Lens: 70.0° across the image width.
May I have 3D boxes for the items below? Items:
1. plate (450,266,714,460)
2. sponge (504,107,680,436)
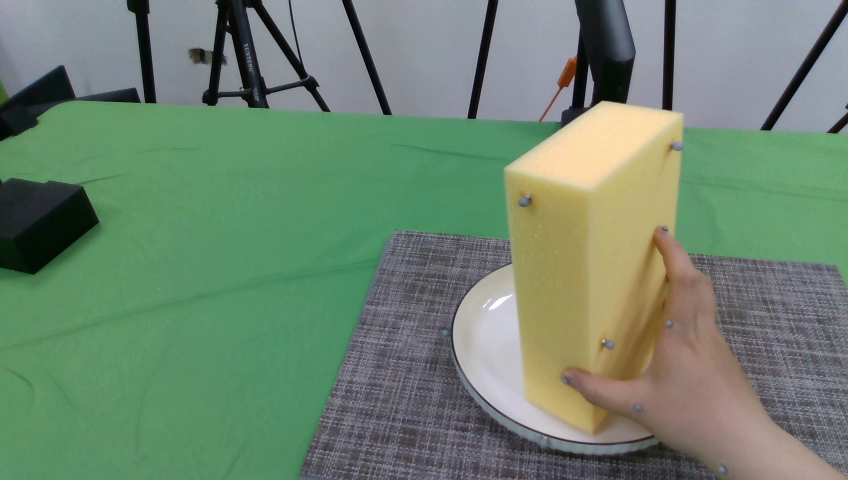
[{"bbox_3d":[0.125,0.094,0.502,0.207,0.039,0.205,-2,37,2],"label":"plate"},{"bbox_3d":[0.123,0.024,0.436,0.060,0.209,0.118,21,45,39],"label":"sponge"}]
